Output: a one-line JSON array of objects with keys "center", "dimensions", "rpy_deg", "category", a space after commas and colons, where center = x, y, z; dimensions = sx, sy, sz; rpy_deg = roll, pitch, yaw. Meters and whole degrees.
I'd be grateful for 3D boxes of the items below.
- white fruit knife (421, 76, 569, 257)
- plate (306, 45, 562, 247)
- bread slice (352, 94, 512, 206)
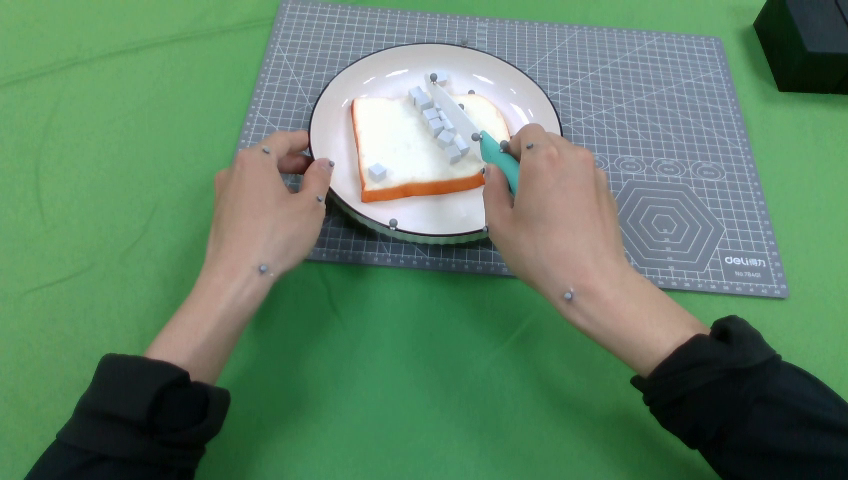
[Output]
[{"center": [0.044, -0.067, 0.451], "dimensions": [0.016, 0.027, 0.205], "rpy_deg": [-16, 50, -24], "category": "white fruit knife"}, {"center": [0.008, -0.079, 0.505], "dimensions": [0.209, 0.038, 0.207], "rpy_deg": [2, 59, -2], "category": "plate"}, {"center": [0.007, -0.082, 0.510], "dimensions": [0.132, 0.019, 0.104], "rpy_deg": [-9, 59, -7], "category": "bread slice"}]
